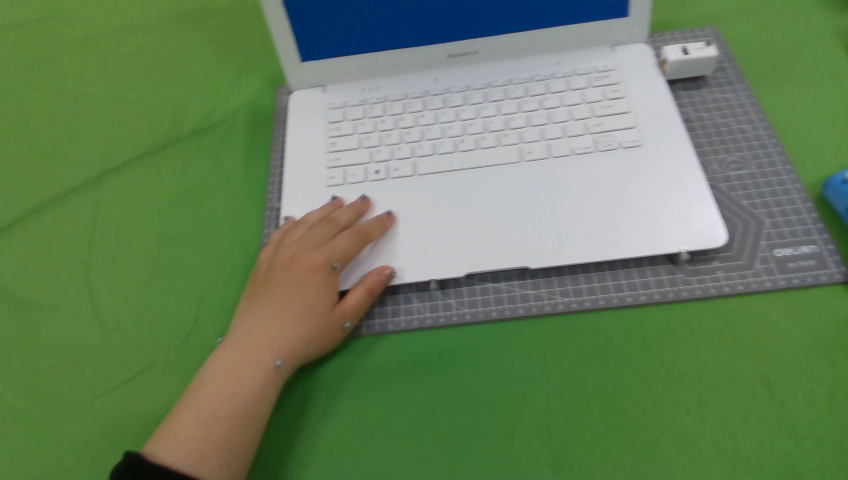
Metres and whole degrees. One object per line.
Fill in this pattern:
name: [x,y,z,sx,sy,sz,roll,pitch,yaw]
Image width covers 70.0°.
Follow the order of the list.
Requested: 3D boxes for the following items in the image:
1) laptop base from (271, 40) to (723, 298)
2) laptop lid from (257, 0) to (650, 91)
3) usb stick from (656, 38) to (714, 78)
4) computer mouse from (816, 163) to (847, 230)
laptop base: [0.046,-0.069,0.532,0.354,0.023,0.233,-7,59,3]
laptop lid: [0.022,-0.252,0.517,0.356,0.244,0.013,-8,43,4]
usb stick: [0.230,-0.165,0.554,0.059,0.027,0.021,-7,56,8]
computer mouse: [0.349,-0.018,0.443,0.063,0.041,0.116,-16,51,1]
